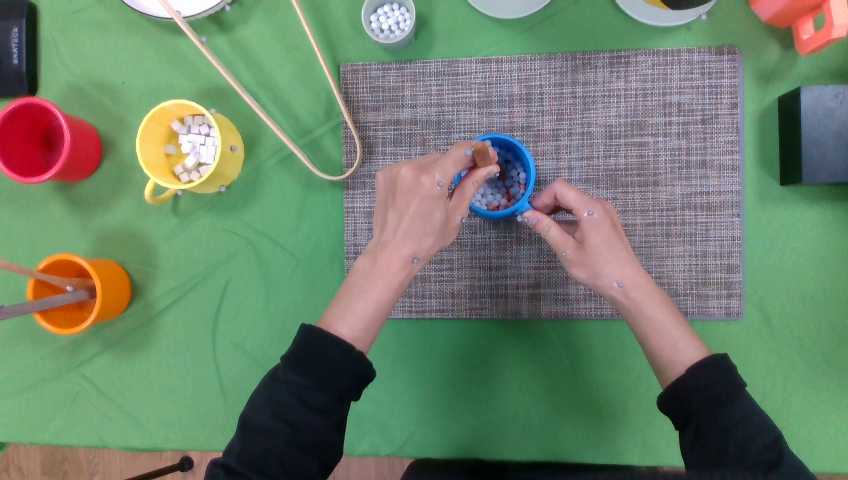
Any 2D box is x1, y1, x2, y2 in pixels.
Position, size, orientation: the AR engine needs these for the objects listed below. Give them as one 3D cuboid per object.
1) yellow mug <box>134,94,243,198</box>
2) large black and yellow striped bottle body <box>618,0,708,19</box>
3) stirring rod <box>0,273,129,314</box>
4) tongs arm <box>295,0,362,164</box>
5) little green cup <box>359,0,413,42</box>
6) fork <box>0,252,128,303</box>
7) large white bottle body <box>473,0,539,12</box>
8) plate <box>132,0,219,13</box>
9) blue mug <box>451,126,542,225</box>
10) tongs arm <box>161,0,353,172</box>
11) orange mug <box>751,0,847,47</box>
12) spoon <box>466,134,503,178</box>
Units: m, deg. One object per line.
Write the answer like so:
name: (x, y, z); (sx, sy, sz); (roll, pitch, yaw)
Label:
yellow mug: (-0.281, -0.101, 0.704); (0.100, 0.064, 0.131); (38, 96, 3)
large black and yellow striped bottle body: (0.257, -0.309, 0.589); (0.130, 0.184, 0.130); (0, 91, 6)
stirring rod: (-0.430, 0.065, 0.686); (0.177, 0.006, 0.014); (-15, 85, -36)
tongs arm: (-0.154, -0.268, 0.685); (0.028, 0.027, 0.388); (-25, 96, -3)
little green cup: (-0.040, -0.257, 0.691); (0.061, 0.038, 0.061); (0, 92, 6)
fork: (-0.440, 0.030, 0.680); (0.209, 0.018, 0.028); (27, 89, -39)
large white bottle body: (0.086, -0.324, 0.604); (0.130, 0.185, 0.130); (0, 91, 6)
plate: (-0.287, -0.368, 0.711); (0.207, 0.039, 0.207); (0, 92, 5)
blue mug: (0.084, -0.060, 0.647); (0.082, 0.106, 0.116); (-43, 87, 5)
tongs arm: (-0.223, -0.221, 0.690); (0.051, 0.026, 0.385); (-39, 95, 2)
orange mug: (0.398, -0.268, 0.619); (0.083, 0.101, 0.126); (-10, 86, 6)
spoon: (0.057, -0.078, 0.578); (0.041, 0.194, 0.021); (-17, 90, 6)
